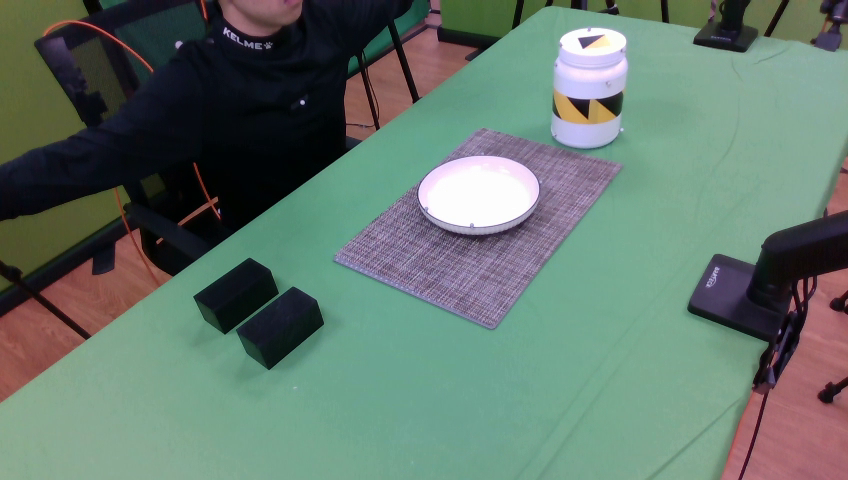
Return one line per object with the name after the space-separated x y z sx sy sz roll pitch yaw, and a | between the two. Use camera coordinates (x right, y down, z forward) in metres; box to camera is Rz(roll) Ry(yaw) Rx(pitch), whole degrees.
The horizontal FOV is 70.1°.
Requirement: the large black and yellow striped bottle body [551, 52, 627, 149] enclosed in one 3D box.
0.305 -0.278 1.125 0.131 0.185 0.130 -4 41 4 | large black and yellow striped bottle body

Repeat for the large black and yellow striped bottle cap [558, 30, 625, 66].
0.297 -0.342 1.071 0.115 0.019 0.114 -3 42 4 | large black and yellow striped bottle cap

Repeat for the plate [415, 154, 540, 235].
0.090 -0.074 1.025 0.207 0.039 0.206 -4 41 4 | plate
